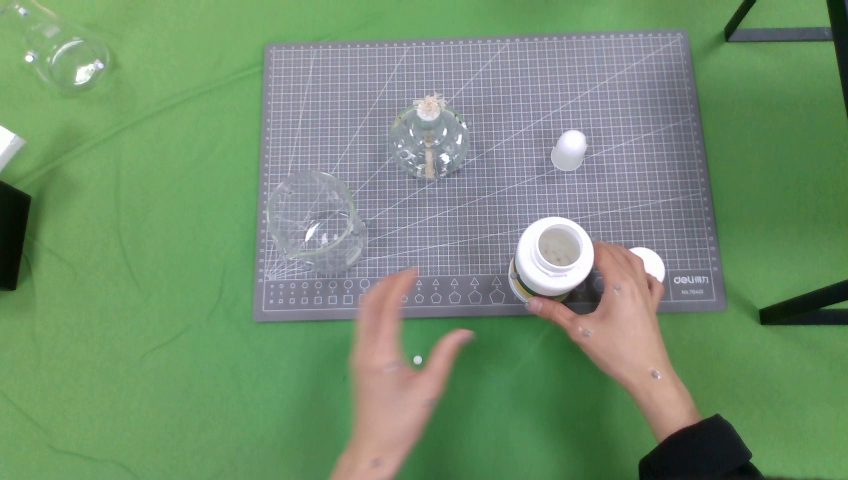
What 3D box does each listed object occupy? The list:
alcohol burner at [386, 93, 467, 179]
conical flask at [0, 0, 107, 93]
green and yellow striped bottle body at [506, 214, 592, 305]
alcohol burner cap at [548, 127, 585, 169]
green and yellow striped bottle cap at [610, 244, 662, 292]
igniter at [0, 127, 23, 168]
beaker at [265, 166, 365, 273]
[{"bbox_3d":[0.003,-0.102,0.564,0.078,0.119,0.077,0,74,0],"label":"alcohol burner"},{"bbox_3d":[-0.381,-0.206,0.600,0.075,0.122,0.075,-1,75,2],"label":"conical flask"},{"bbox_3d":[0.108,0.017,0.527,0.063,0.120,0.063,0,76,2],"label":"green and yellow striped bottle body"},{"bbox_3d":[0.141,-0.093,0.594,0.034,0.048,0.033,0,75,2],"label":"alcohol burner cap"},{"bbox_3d":[0.202,0.026,0.576,0.045,0.020,0.045,1,76,-2],"label":"green and yellow striped bottle cap"},{"bbox_3d":[-0.468,0.011,0.550,0.057,0.025,0.276,28,78,18],"label":"igniter"},{"bbox_3d":[-0.096,-0.010,0.552,0.074,0.101,0.084,26,79,9],"label":"beaker"}]
